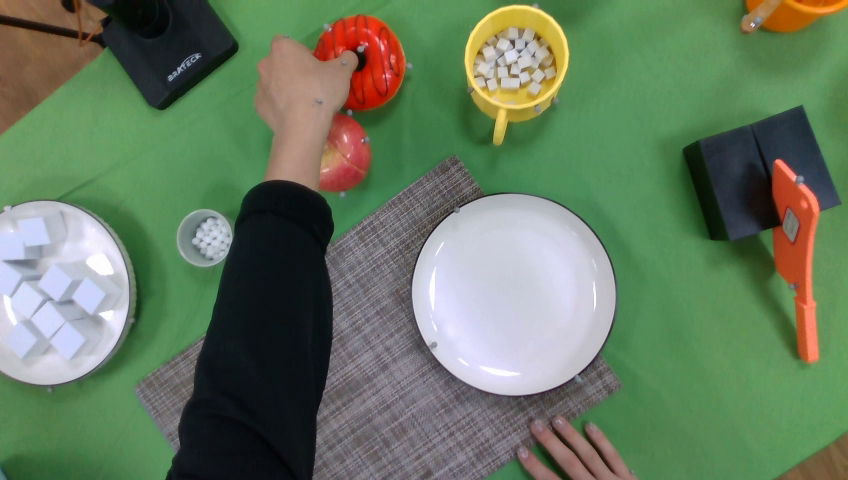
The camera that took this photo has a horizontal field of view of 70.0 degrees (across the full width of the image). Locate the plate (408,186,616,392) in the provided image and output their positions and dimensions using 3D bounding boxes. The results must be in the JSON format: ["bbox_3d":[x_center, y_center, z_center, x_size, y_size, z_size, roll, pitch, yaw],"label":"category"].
[{"bbox_3d":[0.089,0.049,0.625,0.209,0.038,0.209,0,91,6],"label":"plate"}]

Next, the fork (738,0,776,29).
[{"bbox_3d":[0.319,-0.226,0.543,0.028,0.018,0.207,49,52,3],"label":"fork"}]

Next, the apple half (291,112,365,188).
[{"bbox_3d":[-0.105,-0.085,0.630,0.053,0.074,0.081,-44,90,10],"label":"apple half"}]

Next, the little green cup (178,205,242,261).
[{"bbox_3d":[-0.231,-0.007,0.662,0.061,0.038,0.061,0,91,7],"label":"little green cup"}]

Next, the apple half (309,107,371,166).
[{"bbox_3d":[-0.078,-0.113,0.626,0.033,0.081,0.081,-45,86,9],"label":"apple half"}]

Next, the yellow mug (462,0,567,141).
[{"bbox_3d":[0.087,-0.165,0.611,0.100,0.064,0.131,13,93,6],"label":"yellow mug"}]

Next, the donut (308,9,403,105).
[{"bbox_3d":[-0.071,-0.190,0.635,0.099,0.048,0.099,0,93,1],"label":"donut"}]

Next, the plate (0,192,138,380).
[{"bbox_3d":[-0.416,0.051,0.682,0.207,0.039,0.207,0,91,6],"label":"plate"}]

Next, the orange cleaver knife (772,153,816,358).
[{"bbox_3d":[0.351,0.019,0.578,0.012,0.076,0.213,-15,119,10],"label":"orange cleaver knife"}]
